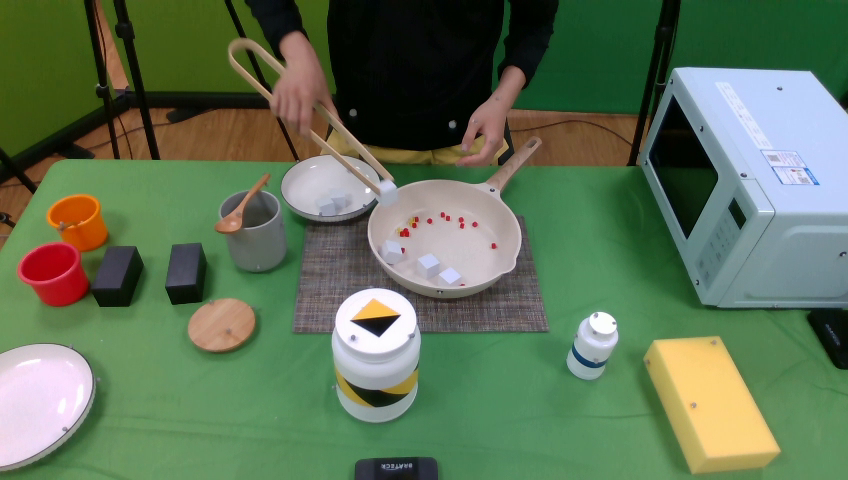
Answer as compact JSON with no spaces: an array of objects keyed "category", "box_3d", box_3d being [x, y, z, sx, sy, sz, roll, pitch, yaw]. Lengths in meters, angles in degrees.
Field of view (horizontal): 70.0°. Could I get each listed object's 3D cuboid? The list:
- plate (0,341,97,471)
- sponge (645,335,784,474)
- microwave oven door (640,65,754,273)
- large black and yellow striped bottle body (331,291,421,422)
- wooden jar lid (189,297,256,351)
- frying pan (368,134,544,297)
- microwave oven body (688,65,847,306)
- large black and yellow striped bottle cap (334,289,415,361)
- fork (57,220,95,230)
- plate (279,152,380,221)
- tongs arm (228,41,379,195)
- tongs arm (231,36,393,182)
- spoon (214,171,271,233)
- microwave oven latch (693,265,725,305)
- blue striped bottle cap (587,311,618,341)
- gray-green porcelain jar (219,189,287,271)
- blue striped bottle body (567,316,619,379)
[{"category":"plate","box_3d":[-0.599,0.247,0.904,0.209,0.038,0.208,2,47,-2]},{"category":"sponge","box_3d":[0.449,0.253,0.956,0.118,0.061,0.205,-4,46,-7]},{"category":"microwave oven door","box_3d":[0.522,-0.147,1.193,0.039,0.245,0.353,0,47,-3]},{"category":"large black and yellow striped bottle body","box_3d":[-0.071,0.175,0.911,0.131,0.185,0.130,2,47,-2]},{"category":"wooden jar lid","box_3d":[-0.342,0.145,1.033,0.108,0.021,0.107,2,45,-2]},{"category":"frying pan","box_3d":[0.104,-0.069,1.205,0.305,0.103,0.487,32,61,23]},{"category":"microwave oven body","box_3d":[0.669,-0.111,1.176,0.326,0.261,0.439,0,46,-3]},{"category":"large black and yellow striped bottle cap","box_3d":[-0.069,0.117,0.850,0.115,0.019,0.114,2,45,-2]},{"category":"fork","box_3d":[-0.624,-0.027,1.086,0.028,0.207,0.018,-3,92,-17]},{"category":"plate","box_3d":[-0.197,-0.107,1.269,0.208,0.039,0.206,2,45,-2]},{"category":"tongs arm","box_3d":[-0.224,-0.220,1.108,0.387,0.028,0.028,43,72,1]},{"category":"tongs arm","box_3d":[-0.207,-0.237,1.118,0.384,0.026,0.050,47,68,2]},{"category":"spoon","box_3d":[-0.312,-0.070,1.070,0.041,0.022,0.193,9,43,10]},{"category":"microwave oven latch","box_3d":[0.523,0.081,1.116,0.030,0.029,0.078,2,46,-1]},{"category":"blue striped bottle cap","box_3d":[0.279,0.134,0.947,0.044,0.021,0.044,2,45,-2]},{"category":"gray-green porcelain jar","box_3d":[-0.310,-0.014,1.113,0.106,0.127,0.105,2,46,-2]},{"category":"blue striped bottle body","box_3d":[0.276,0.168,0.984,0.063,0.121,0.062,2,46,-2]}]
